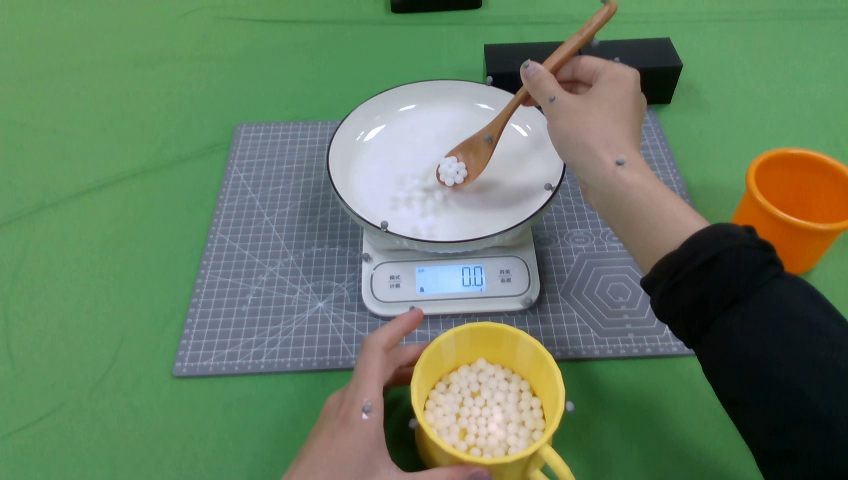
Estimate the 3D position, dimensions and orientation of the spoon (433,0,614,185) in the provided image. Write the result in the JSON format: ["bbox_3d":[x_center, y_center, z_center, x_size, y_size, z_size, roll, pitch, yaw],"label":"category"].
[{"bbox_3d":[0.076,-0.116,0.485,0.022,0.194,0.041,16,36,-45],"label":"spoon"}]

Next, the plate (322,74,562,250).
[{"bbox_3d":[0.015,-0.069,0.537,0.209,0.038,0.207,0,52,0],"label":"plate"}]

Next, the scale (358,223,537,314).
[{"bbox_3d":[0.017,-0.026,0.545,0.149,0.032,0.199,-3,52,0],"label":"scale"}]

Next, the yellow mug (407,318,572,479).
[{"bbox_3d":[0.051,0.122,0.410,0.100,0.064,0.129,-37,60,-22],"label":"yellow mug"}]
